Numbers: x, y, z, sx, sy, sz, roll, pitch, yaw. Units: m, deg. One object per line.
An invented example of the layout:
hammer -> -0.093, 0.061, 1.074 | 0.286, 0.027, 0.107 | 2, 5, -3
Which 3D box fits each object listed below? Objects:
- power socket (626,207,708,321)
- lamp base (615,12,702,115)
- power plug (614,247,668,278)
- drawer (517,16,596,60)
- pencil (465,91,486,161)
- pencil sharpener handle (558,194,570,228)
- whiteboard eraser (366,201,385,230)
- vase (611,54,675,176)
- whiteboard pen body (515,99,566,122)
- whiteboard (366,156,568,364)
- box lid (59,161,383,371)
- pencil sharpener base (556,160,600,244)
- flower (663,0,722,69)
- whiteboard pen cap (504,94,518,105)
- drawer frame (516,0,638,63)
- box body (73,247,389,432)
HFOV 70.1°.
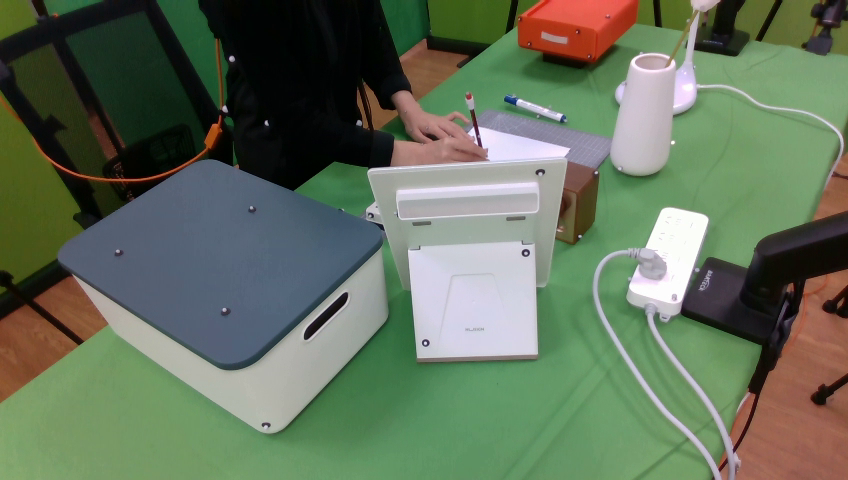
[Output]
power socket -> 0.359, 0.025, 0.886 | 0.072, 0.033, 0.227 | 16, 46, 26
lamp base -> 0.484, -0.363, 1.211 | 0.180, 0.181, 0.159 | -15, 41, -14
power plug -> 0.306, 0.031, 0.851 | 0.072, 0.053, 0.035 | 24, 49, 33
drawer -> 0.353, -0.506, 1.405 | 0.193, 0.073, 0.212 | 23, 49, 32
pencil -> 0.093, -0.169, 1.016 | 0.012, 0.195, 0.012 | -9, 49, 11
pencil sharpener handle -> 0.195, -0.038, 0.908 | 0.035, 0.068, 0.031 | 24, 50, 30
whiteboard eraser -> -0.037, -0.038, 1.006 | 0.112, 0.042, 0.055 | 16, 47, 25
vase -> 0.377, -0.209, 1.031 | 0.098, 0.201, 0.097 | -3, 40, 3
whiteboard pen body -> 0.234, -0.274, 1.262 | 0.139, 0.017, 0.017 | 28, 51, 29
whiteboard -> 0.059, 0.050, 0.738 | 0.217, 0.307, 0.143 | -2, 60, 6
box lid -> -0.262, 0.009, 0.777 | 0.369, 0.015, 0.264 | 21, 48, 29
pencil sharpener base -> 0.228, -0.057, 0.945 | 0.061, 0.107, 0.077 | 24, 50, 31
flower -> 0.379, -0.261, 0.965 | 0.044, 0.362, 0.038 | 20, 53, 5
whiteboard pen cap -> 0.190, -0.299, 1.292 | 0.033, 0.018, 0.018 | 30, 52, 28
drawer frame -> 0.355, -0.508, 1.411 | 0.200, 0.083, 0.214 | 23, 51, 32
box body -> -0.255, 0.065, 0.827 | 0.361, 0.161, 0.255 | 21, 48, 29
